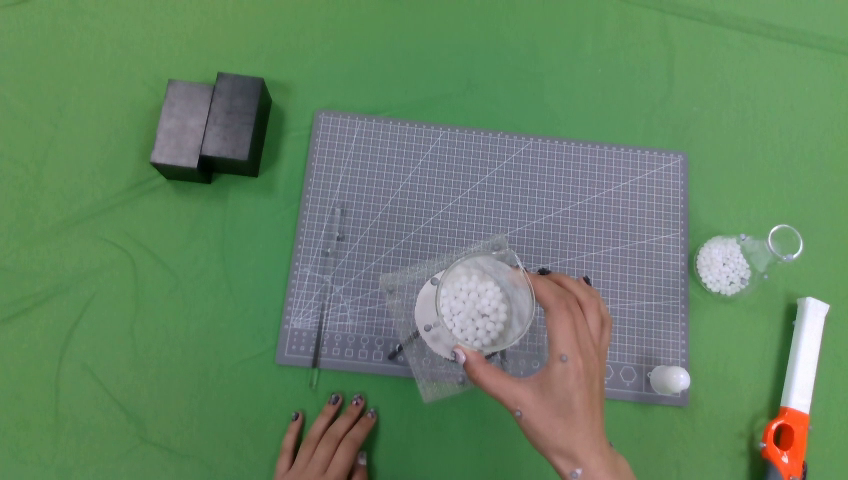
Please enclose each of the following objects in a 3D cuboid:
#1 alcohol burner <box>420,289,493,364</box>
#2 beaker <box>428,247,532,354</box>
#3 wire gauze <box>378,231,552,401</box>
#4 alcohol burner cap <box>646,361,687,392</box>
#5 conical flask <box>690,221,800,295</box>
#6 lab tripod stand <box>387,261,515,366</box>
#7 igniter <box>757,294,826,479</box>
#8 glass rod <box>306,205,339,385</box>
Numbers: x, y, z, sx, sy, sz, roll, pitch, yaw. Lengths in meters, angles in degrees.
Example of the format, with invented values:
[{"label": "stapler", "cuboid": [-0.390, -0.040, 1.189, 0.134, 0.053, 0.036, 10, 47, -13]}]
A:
[{"label": "alcohol burner", "cuboid": [0.033, 0.085, 0.612, 0.078, 0.119, 0.077, 0, 75, -1]}, {"label": "beaker", "cuboid": [0.042, 0.050, 0.488, 0.074, 0.100, 0.084, 30, 78, 2]}, {"label": "wire gauze", "cuboid": [0.036, 0.065, 0.537, 0.125, 0.011, 0.121, -19, 79, -7]}, {"label": "alcohol burner cap", "cuboid": [0.263, 0.145, 0.649, 0.034, 0.048, 0.033, 1, 76, -3]}, {"label": "conical flask", "cuboid": [0.347, 0.013, 0.648, 0.075, 0.122, 0.075, 1, 75, -3]}, {"label": "lab tripod stand", "cuboid": [0.031, 0.081, 0.602, 0.148, 0.132, 0.147, 1, 78, -3]}, {"label": "igniter", "cuboid": [0.396, 0.191, 0.657, 0.057, 0.025, 0.275, 22, 76, -8]}, {"label": "glass rod", "cuboid": [-0.110, 0.058, 0.663, 0.008, 0.008, 0.199, 7, 79, -2]}]
